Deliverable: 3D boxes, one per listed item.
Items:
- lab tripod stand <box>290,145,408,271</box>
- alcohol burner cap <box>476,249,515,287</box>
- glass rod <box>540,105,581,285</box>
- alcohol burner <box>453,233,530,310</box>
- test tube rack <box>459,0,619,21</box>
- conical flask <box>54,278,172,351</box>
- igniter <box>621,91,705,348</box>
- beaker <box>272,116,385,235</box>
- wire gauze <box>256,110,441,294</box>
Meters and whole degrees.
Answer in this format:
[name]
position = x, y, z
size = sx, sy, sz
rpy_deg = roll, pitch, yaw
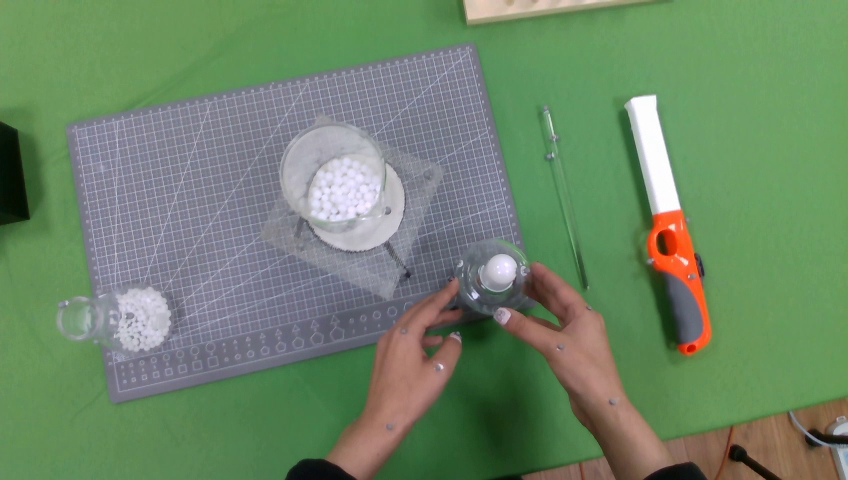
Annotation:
[lab tripod stand]
position = -0.068, -0.028, 0.581
size = 0.148, 0.131, 0.148
rpy_deg = 0, 85, -1
[alcohol burner cap]
position = 0.067, 0.023, 0.554
size = 0.034, 0.048, 0.033
rpy_deg = 1, 76, -3
[glass rod]
position = 0.148, -0.050, 0.657
size = 0.008, 0.008, 0.199
rpy_deg = -11, 87, -4
[alcohol burner]
position = 0.067, 0.029, 0.590
size = 0.078, 0.119, 0.077
rpy_deg = 0, 83, 1
[test tube rack]
position = 0.159, -0.300, 0.647
size = 0.242, 0.085, 0.066
rpy_deg = -9, 83, -3
[conical flask]
position = -0.293, 0.069, 0.567
size = 0.075, 0.122, 0.075
rpy_deg = 0, 83, -2
[igniter]
position = 0.256, -0.024, 0.649
size = 0.057, 0.025, 0.275
rpy_deg = -9, 84, -14
[beaker]
position = -0.065, -0.042, 0.468
size = 0.084, 0.100, 0.074
rpy_deg = 38, 84, 3
[wire gauze]
position = -0.063, -0.034, 0.515
size = 0.125, 0.011, 0.121
rpy_deg = 25, 86, -1
